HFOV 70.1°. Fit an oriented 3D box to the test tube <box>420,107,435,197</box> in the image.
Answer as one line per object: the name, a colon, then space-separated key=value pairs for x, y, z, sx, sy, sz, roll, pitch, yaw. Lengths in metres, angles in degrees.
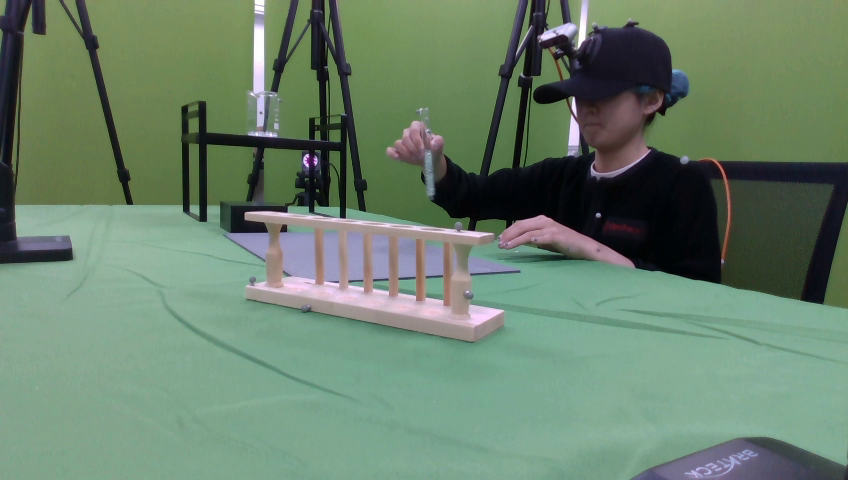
test tube: x=0.006 y=-0.146 z=1.012 sx=0.017 sy=0.150 sz=0.017 roll=-4 pitch=17 yaw=2

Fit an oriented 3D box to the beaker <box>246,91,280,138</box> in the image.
beaker: x=-0.361 y=-0.279 z=1.351 sx=0.074 sy=0.100 sz=0.084 roll=3 pitch=8 yaw=1

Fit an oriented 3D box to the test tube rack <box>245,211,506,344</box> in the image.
test tube rack: x=-0.049 y=0.025 z=0.547 sx=0.241 sy=0.085 sz=0.067 roll=7 pitch=8 yaw=28
